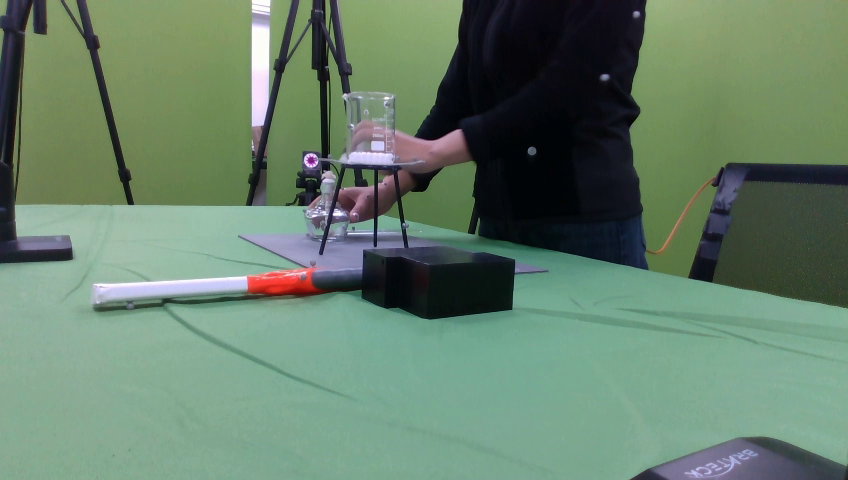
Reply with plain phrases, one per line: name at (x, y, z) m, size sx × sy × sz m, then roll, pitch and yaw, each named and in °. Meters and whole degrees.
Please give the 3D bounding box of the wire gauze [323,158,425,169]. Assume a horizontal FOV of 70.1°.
wire gauze at (-0.080, -0.112, 0.869) m, size 0.122 × 0.011 × 0.124 m, roll -6°, pitch 12°, yaw -35°

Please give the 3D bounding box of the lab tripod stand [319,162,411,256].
lab tripod stand at (-0.081, -0.047, 0.879) m, size 0.148 × 0.131 × 0.148 m, roll 2°, pitch 9°, yaw 0°

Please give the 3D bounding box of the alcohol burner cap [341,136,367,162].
alcohol burner cap at (-0.114, -0.150, 1.005) m, size 0.034 × 0.048 × 0.034 m, roll 27°, pitch 8°, yaw -4°

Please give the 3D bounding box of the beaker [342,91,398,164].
beaker at (-0.079, -0.160, 0.867) m, size 0.084 × 0.100 × 0.073 m, roll -5°, pitch 10°, yaw -34°

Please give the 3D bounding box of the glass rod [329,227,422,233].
glass rod at (-0.087, -0.019, 1.148) m, size 0.201 × 0.008 × 0.008 m, roll -3°, pitch 8°, yaw -33°

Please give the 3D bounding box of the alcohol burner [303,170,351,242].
alcohol burner at (-0.162, -0.057, 1.008) m, size 0.078 × 0.119 × 0.078 m, roll 2°, pitch 10°, yaw 0°

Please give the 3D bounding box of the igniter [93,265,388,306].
igniter at (-0.164, 0.042, 0.589) m, size 0.278 × 0.025 × 0.057 m, roll -2°, pitch -6°, yaw -31°
